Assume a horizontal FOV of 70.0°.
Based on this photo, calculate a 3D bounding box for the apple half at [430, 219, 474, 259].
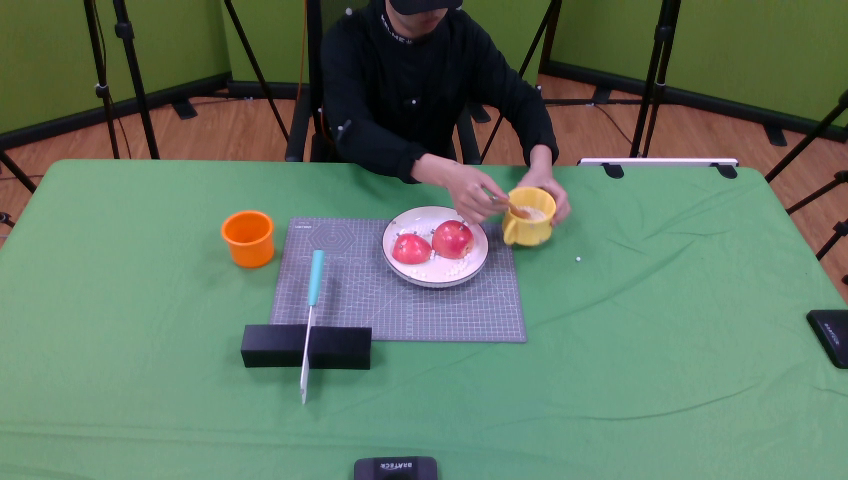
[{"bbox_3d":[0.056,-0.007,1.172,0.081,0.053,0.074,-33,59,-31],"label":"apple half"}]

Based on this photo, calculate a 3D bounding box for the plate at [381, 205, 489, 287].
[{"bbox_3d":[0.021,0.015,1.170,0.209,0.038,0.208,2,46,-2],"label":"plate"}]

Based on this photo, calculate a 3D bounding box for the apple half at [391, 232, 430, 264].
[{"bbox_3d":[-0.024,0.009,1.163,0.081,0.033,0.081,2,43,-2],"label":"apple half"}]

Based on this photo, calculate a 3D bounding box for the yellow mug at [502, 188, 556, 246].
[{"bbox_3d":[0.195,-0.037,1.181,0.099,0.064,0.130,30,56,27],"label":"yellow mug"}]

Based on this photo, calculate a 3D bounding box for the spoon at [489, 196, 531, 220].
[{"bbox_3d":[0.158,-0.062,1.133,0.041,0.194,0.021,20,89,28],"label":"spoon"}]

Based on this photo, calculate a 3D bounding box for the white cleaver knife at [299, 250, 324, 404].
[{"bbox_3d":[-0.194,0.134,1.019,0.021,0.066,0.284,5,50,-5],"label":"white cleaver knife"}]
